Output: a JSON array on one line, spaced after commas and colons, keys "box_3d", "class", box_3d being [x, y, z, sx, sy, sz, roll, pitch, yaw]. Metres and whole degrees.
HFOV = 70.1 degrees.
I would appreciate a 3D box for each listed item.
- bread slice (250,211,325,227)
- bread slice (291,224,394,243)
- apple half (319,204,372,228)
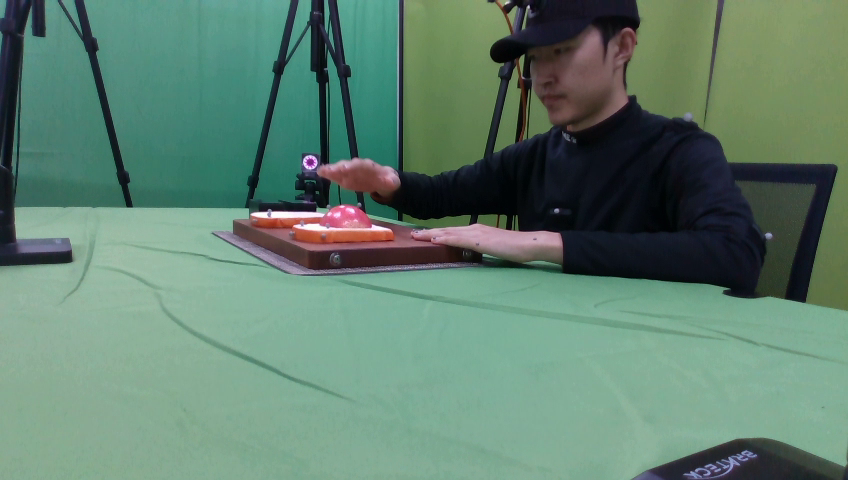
[{"box_3d": [-0.223, -0.036, 1.021, 0.135, 0.018, 0.106, -4, 9, -33], "class": "bread slice"}, {"box_3d": [-0.122, -0.011, 0.869, 0.132, 0.019, 0.104, -2, 7, -32], "class": "bread slice"}, {"box_3d": [-0.112, -0.035, 0.876, 0.081, 0.033, 0.081, 1, 6, 0], "class": "apple half"}]
